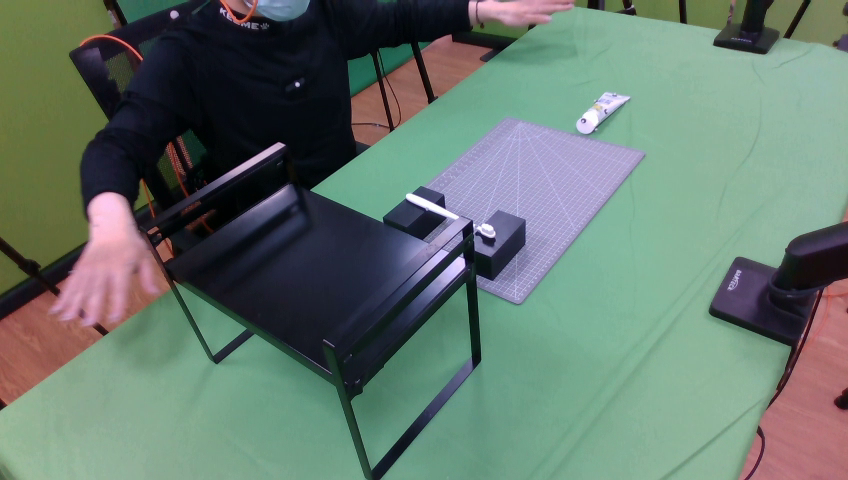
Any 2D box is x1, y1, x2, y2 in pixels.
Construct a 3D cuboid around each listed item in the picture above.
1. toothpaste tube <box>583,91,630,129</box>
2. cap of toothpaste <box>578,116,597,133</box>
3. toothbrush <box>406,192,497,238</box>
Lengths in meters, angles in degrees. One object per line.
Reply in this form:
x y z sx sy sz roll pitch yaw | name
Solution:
0.364 -0.266 1.223 0.054 0.034 0.165 25 46 24 | toothpaste tube
0.316 -0.225 1.172 0.037 0.037 0.011 15 45 24 | cap of toothpaste
0.038 -0.043 0.937 0.180 0.017 0.014 26 64 35 | toothbrush
